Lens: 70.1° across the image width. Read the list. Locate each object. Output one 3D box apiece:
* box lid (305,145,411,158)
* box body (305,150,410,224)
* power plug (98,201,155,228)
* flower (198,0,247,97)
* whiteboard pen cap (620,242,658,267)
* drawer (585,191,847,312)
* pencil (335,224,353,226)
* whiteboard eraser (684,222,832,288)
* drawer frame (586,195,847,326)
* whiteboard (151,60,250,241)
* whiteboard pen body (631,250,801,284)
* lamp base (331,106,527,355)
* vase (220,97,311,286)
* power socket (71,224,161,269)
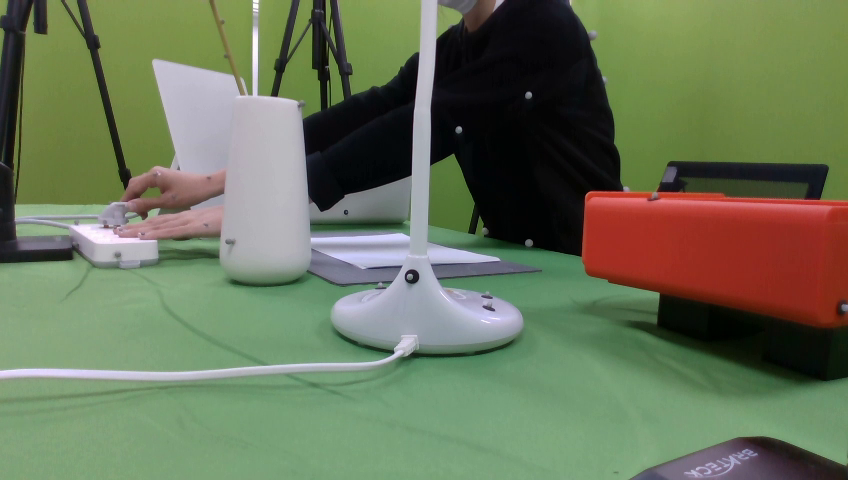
[{"bbox_3d":[-0.232,-0.200,1.363,0.373,0.015,0.262,0,8,-29],"label":"box lid"},{"bbox_3d":[-0.233,-0.127,1.374,0.366,0.160,0.253,-2,8,-29],"label":"box body"},{"bbox_3d":[-0.415,-0.027,0.847,0.073,0.052,0.035,-2,8,-26],"label":"power plug"},{"bbox_3d":[-0.187,-0.133,0.648,0.038,0.362,0.044,0,22,43],"label":"flower"},{"bbox_3d":[0.199,0.013,0.556,0.018,0.018,0.033,-4,16,-38],"label":"whiteboard pen cap"},{"bbox_3d":[0.280,0.001,0.513,0.195,0.073,0.211,-1,8,-28],"label":"drawer"},{"bbox_3d":[-0.247,-0.045,1.339,0.195,0.012,0.012,8,4,-28],"label":"pencil"},{"bbox_3d":[0.304,0.013,0.558,0.056,0.042,0.112,-10,19,-30],"label":"whiteboard eraser"},{"bbox_3d":[0.284,0.004,0.508,0.203,0.082,0.212,-1,6,-28],"label":"drawer frame"},{"bbox_3d":[-0.408,-0.139,1.093,0.143,0.305,0.218,-15,0,26],"label":"whiteboard"},{"bbox_3d":[0.239,0.020,0.512,0.017,0.017,0.140,-4,8,-41],"label":"whiteboard pen body"},{"bbox_3d":[0.006,-0.012,0.478,0.161,0.180,0.179,2,10,2],"label":"lamp base"},{"bbox_3d":[-0.172,-0.052,0.662,0.098,0.200,0.098,3,9,0],"label":"vase"},{"bbox_3d":[-0.408,0.004,0.793,0.072,0.032,0.225,-4,9,-37],"label":"power socket"}]
